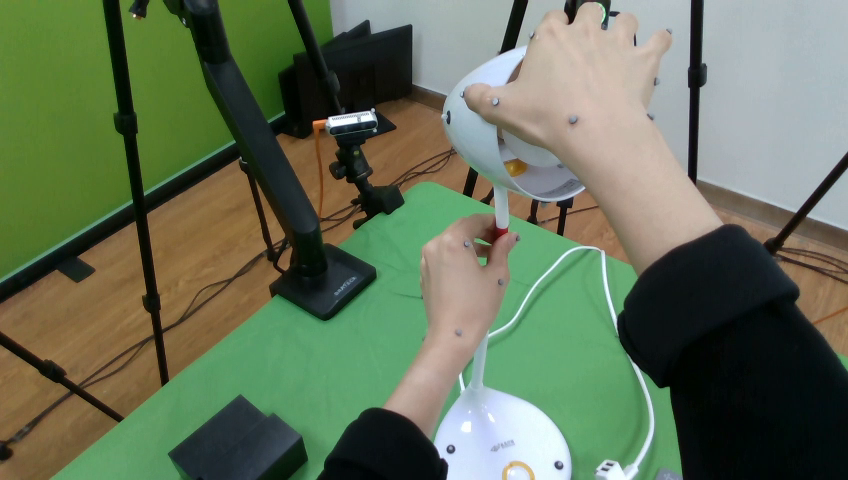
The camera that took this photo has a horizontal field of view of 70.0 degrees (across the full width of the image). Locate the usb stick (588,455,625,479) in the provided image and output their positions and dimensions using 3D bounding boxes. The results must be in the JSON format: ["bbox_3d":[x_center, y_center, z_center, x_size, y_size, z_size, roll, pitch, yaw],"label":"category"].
[{"bbox_3d":[0.206,0.268,0.664,0.027,0.059,0.021,-28,6,-32],"label":"usb stick"}]

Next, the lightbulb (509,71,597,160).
[{"bbox_3d":[0.091,-0.098,0.440,0.059,0.060,0.107,3,31,5],"label":"lightbulb"}]

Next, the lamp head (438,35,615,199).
[{"bbox_3d":[0.066,-0.091,0.467,0.112,0.113,0.122,-24,18,-23],"label":"lamp head"}]

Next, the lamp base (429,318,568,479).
[{"bbox_3d":[0.077,0.183,0.660,0.161,0.182,0.177,-23,44,-23],"label":"lamp base"}]
